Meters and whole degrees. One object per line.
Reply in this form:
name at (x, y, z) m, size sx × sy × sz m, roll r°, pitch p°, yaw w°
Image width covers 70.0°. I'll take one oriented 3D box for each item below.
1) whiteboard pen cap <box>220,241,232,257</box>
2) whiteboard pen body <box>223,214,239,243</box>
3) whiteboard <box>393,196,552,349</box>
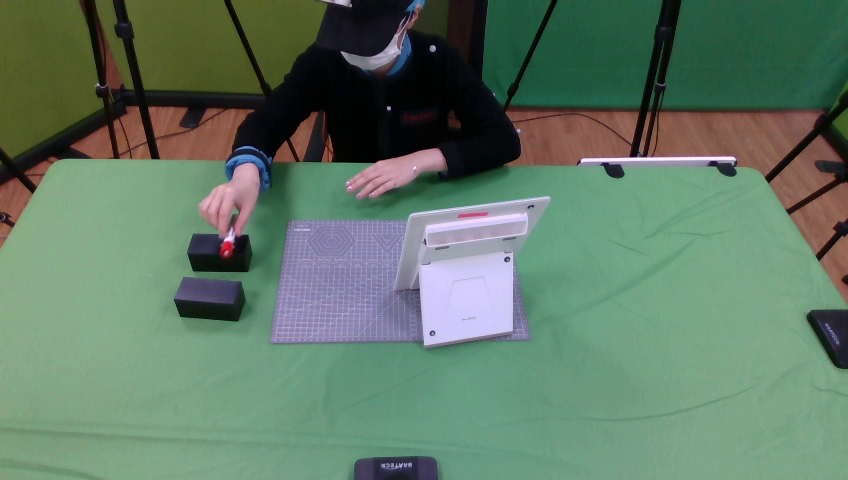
whiteboard pen cap at (-0.331, 0.014, 1.014) m, size 0.017 × 0.017 × 0.032 m, roll -4°, pitch 26°, yaw -8°
whiteboard pen body at (-0.340, -0.012, 1.065) m, size 0.017 × 0.017 × 0.140 m, roll -4°, pitch 27°, yaw -8°
whiteboard at (0.077, 0.071, 0.977) m, size 0.217 × 0.306 × 0.143 m, roll -7°, pitch 66°, yaw -11°
